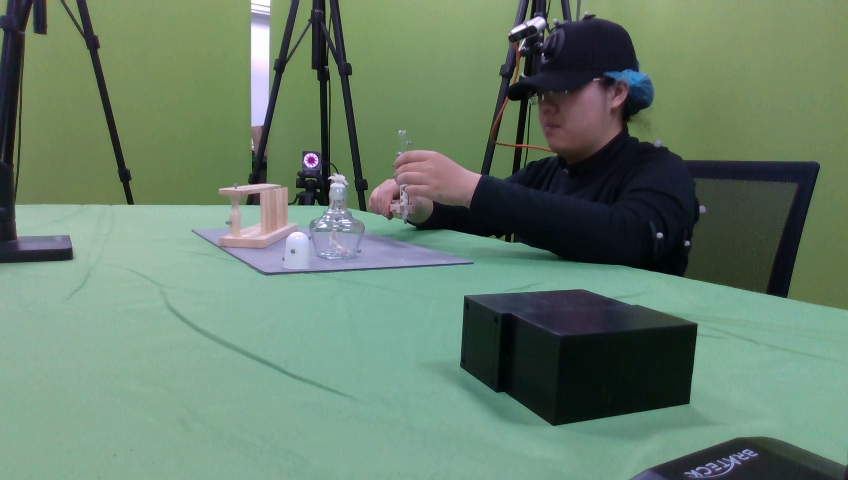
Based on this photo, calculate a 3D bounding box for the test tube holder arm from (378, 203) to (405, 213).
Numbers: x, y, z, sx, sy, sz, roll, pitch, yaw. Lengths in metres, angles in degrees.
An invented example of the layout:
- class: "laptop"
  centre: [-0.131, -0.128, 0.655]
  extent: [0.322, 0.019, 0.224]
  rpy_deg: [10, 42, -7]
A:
- class: "test tube holder arm"
  centre: [-0.059, -0.058, 1.076]
  extent: [0.013, 0.015, 0.178]
  rpy_deg: [6, 3, -18]

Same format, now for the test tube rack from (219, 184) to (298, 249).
- class: "test tube rack"
  centre: [-0.266, -0.046, 1.001]
  extent: [0.067, 0.085, 0.242]
  rpy_deg: [3, 7, 0]

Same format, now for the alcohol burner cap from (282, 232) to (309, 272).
- class: "alcohol burner cap"
  centre: [-0.157, 0.014, 0.740]
  extent: [0.034, 0.048, 0.034]
  rpy_deg: [3, 6, 0]

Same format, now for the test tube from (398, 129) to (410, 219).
- class: "test tube"
  centre: [-0.033, -0.108, 1.000]
  extent: [0.017, 0.150, 0.017]
  rpy_deg: [-1, 14, 1]

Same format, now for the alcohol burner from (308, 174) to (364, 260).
- class: "alcohol burner"
  centre: [-0.121, -0.033, 0.841]
  extent: [0.078, 0.119, 0.078]
  rpy_deg: [3, 5, 0]

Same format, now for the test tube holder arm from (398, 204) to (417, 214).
- class: "test tube holder arm"
  centre: [-0.038, -0.054, 1.037]
  extent: [0.010, 0.015, 0.087]
  rpy_deg: [4, 4, -31]
